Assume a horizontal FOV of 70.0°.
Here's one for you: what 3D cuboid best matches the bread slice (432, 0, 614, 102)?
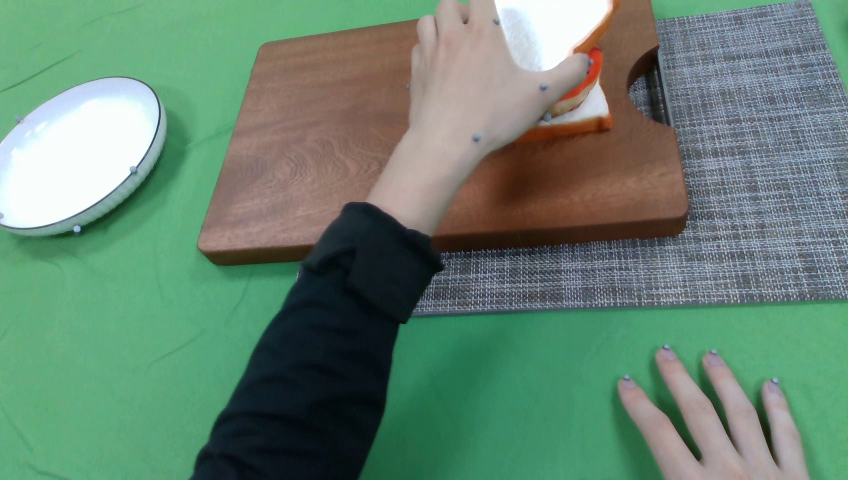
[{"bbox_3d":[0.083,-0.165,0.474,0.106,0.018,0.134,23,65,27],"label":"bread slice"}]

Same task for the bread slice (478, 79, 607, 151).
[{"bbox_3d":[0.095,-0.138,0.528,0.105,0.019,0.130,-7,58,10],"label":"bread slice"}]

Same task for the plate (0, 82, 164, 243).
[{"bbox_3d":[-0.368,-0.082,0.643,0.209,0.038,0.207,-7,56,11],"label":"plate"}]

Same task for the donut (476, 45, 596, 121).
[{"bbox_3d":[0.090,-0.141,0.495,0.099,0.049,0.098,-6,59,10],"label":"donut"}]
